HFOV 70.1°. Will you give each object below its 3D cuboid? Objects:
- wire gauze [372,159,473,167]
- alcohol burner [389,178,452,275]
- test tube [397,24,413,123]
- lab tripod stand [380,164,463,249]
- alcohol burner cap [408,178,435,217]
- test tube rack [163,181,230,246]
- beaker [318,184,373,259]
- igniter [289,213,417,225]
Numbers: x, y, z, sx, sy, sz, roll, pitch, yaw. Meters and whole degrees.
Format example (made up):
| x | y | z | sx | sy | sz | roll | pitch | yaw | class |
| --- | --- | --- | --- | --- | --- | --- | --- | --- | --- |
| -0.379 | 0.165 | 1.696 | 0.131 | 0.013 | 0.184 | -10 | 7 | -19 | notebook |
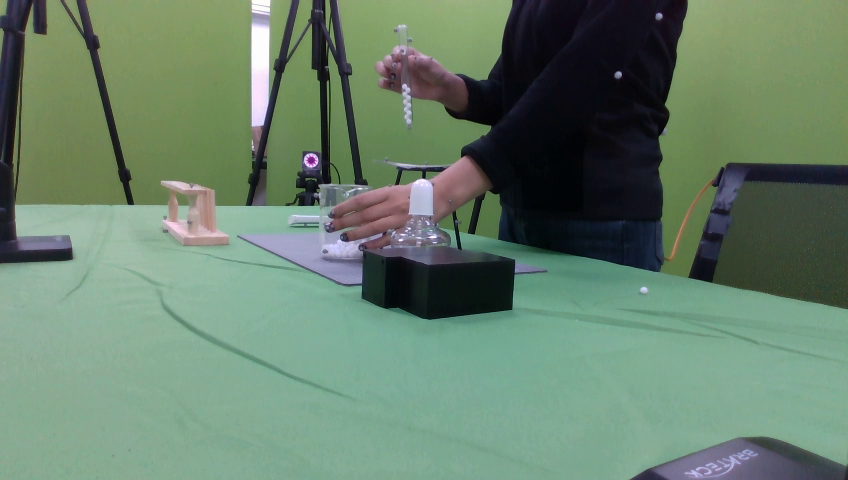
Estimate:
| x | y | z | sx | sy | sz | roll | pitch | yaw | class |
| --- | --- | --- | --- | --- | --- | --- | --- | --- | --- |
| -0.004 | -0.122 | 0.958 | 0.122 | 0.011 | 0.124 | -4 | 9 | -33 | wire gauze |
| -0.004 | -0.017 | 0.748 | 0.078 | 0.119 | 0.078 | 1 | 8 | 0 | alcohol burner |
| -0.030 | -0.259 | 0.947 | 0.017 | 0.150 | 0.017 | -4 | 9 | 1 | test tube |
| -0.004 | -0.055 | 0.966 | 0.148 | 0.131 | 0.148 | 2 | 9 | 0 | lab tripod stand |
| -0.003 | -0.053 | 0.746 | 0.034 | 0.048 | 0.034 | 2 | 3 | 0 | alcohol burner cap |
| -0.387 | -0.050 | 1.015 | 0.067 | 0.085 | 0.241 | -2 | 9 | -30 | test tube rack |
| -0.108 | -0.026 | 0.829 | 0.074 | 0.100 | 0.084 | 1 | 3 | -6 | beaker |
| -0.144 | -0.044 | 1.275 | 0.278 | 0.025 | 0.057 | -1 | -2 | -27 | igniter |
